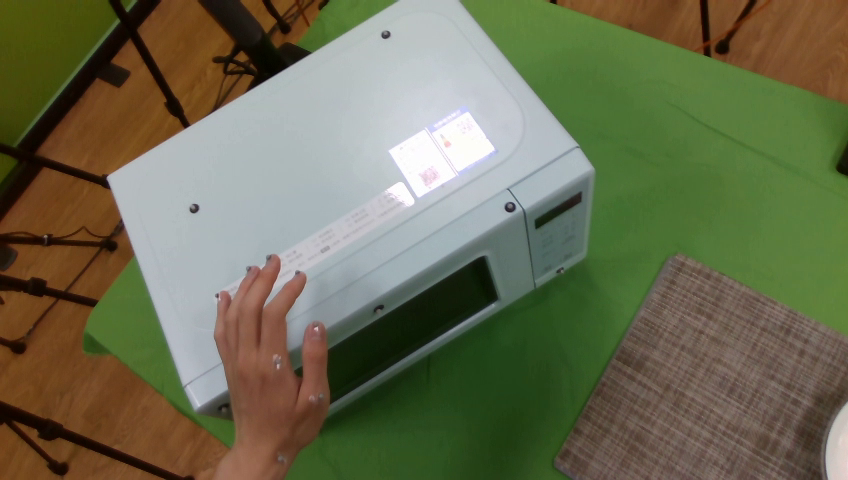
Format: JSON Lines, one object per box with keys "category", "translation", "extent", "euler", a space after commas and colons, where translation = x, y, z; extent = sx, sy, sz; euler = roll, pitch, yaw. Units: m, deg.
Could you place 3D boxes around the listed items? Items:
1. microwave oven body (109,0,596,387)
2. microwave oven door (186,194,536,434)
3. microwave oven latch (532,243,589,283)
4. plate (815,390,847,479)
{"category": "microwave oven body", "translation": [-0.074, -0.036, 0.731], "extent": [0.442, 0.262, 0.323], "euler": [-32, 66, -1]}
{"category": "microwave oven door", "translation": [-0.042, 0.096, 0.665], "extent": [0.356, 0.246, 0.039], "euler": [-31, 64, -1]}
{"category": "microwave oven latch", "translation": [0.168, 0.021, 0.761], "extent": [0.079, 0.030, 0.030], "euler": [-30, 66, 0]}
{"category": "plate", "translation": [0.510, 0.239, 0.614], "extent": [0.207, 0.039, 0.206], "euler": [-4, 68, 11]}
